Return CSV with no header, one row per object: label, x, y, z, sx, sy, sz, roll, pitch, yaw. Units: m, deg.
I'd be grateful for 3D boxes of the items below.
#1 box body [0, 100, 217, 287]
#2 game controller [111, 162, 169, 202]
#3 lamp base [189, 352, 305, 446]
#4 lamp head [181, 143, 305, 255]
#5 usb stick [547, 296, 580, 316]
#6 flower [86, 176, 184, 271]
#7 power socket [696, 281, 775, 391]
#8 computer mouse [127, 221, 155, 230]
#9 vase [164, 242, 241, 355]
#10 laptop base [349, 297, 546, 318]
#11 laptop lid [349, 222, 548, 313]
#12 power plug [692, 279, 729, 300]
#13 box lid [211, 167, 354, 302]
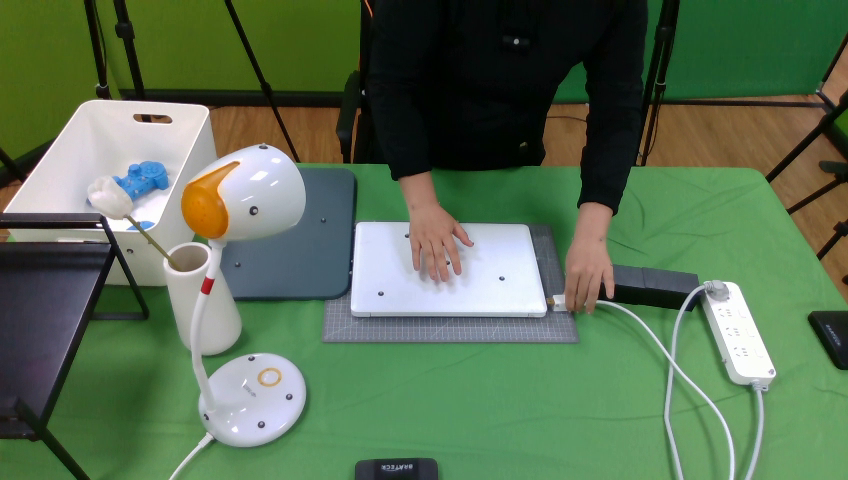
box body,-0.559,-0.092,1.144,0.254,0.161,0.361,3,46,-2
game controller,-0.598,-0.113,1.234,0.097,0.052,0.155,29,52,19
lamp base,-0.268,0.197,0.876,0.160,0.181,0.179,26,52,20
lamp head,-0.216,-0.044,0.696,0.112,0.113,0.123,23,31,17
usb stick,0.251,0.118,1.097,0.059,0.027,0.021,11,34,4
flower,-0.365,0.038,0.894,0.038,0.364,0.044,-4,53,15
power socket,0.550,0.161,1.079,0.072,0.033,0.225,2,46,-1
computer mouse,-0.537,0.009,1.127,0.062,0.041,0.117,31,55,21
vase,-0.349,0.096,0.954,0.098,0.201,0.097,3,47,-3
laptop base,0.041,0.056,1.149,0.355,0.023,0.234,0,43,-4
laptop lid,0.041,0.046,1.142,0.357,0.013,0.240,2,44,-3
power plug,0.522,0.091,1.116,0.072,0.053,0.035,10,47,8
box lid,-0.276,-0.024,1.205,0.263,0.015,0.369,0,46,-4
